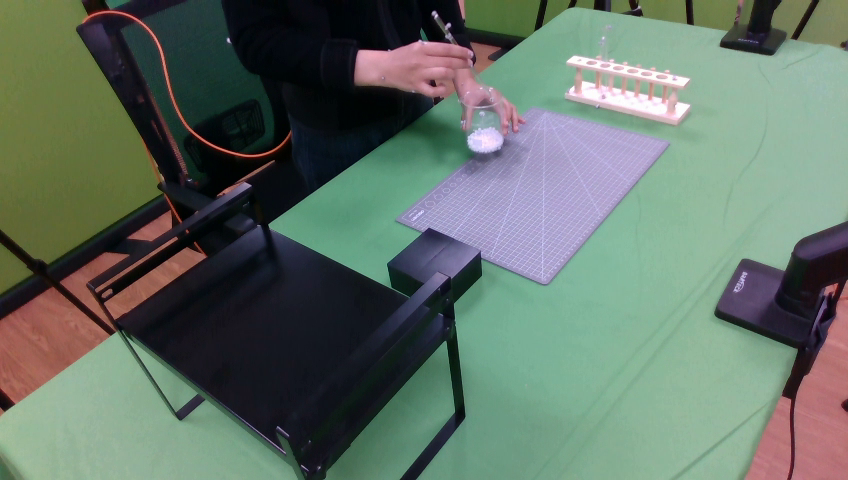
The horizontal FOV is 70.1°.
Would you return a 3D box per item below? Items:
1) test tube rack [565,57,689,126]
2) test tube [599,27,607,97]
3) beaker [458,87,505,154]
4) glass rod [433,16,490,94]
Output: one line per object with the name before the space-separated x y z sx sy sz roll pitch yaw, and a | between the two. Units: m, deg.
test tube rack | 0.411 -0.311 1.230 0.240 0.085 0.067 23 49 32
test tube | 0.358 -0.353 1.210 0.017 0.151 0.017 -8 43 8
beaker | 0.106 -0.214 1.098 0.083 0.101 0.074 3 41 15
glass rod | 0.064 -0.291 0.967 0.008 0.201 0.008 -12 63 26
